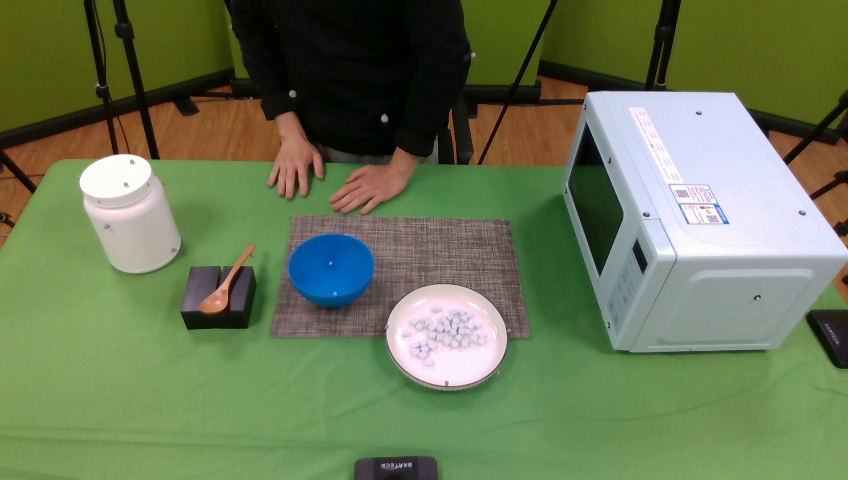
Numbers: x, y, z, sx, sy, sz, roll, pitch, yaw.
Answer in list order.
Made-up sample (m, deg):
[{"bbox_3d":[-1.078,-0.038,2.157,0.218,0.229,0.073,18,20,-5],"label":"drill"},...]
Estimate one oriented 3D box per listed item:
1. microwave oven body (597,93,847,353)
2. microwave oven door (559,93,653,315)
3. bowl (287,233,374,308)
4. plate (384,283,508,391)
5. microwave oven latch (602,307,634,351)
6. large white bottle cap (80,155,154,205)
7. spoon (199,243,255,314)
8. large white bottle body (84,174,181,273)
[{"bbox_3d":[0.475,-0.041,1.109,0.326,0.261,0.438,-1,45,-4],"label":"microwave oven body"},{"bbox_3d":[0.327,-0.074,1.123,0.039,0.245,0.353,-1,46,-5],"label":"microwave oven door"},{"bbox_3d":[-0.165,0.068,1.078,0.151,0.077,0.150,3,46,-3],"label":"bowl"},{"bbox_3d":[0.036,0.166,1.029,0.209,0.038,0.208,2,49,-2],"label":"plate"},{"bbox_3d":[0.332,0.153,1.044,0.030,0.029,0.078,0,45,-4],"label":"microwave oven latch"},{"bbox_3d":[-0.519,-0.103,1.027,0.115,0.018,0.114,2,46,-2],"label":"large white bottle cap"},{"bbox_3d":[-0.333,0.063,1.051,0.041,0.022,0.193,6,41,9],"label":"spoon"},{"bbox_3d":[-0.523,-0.045,1.088,0.131,0.185,0.130,2,46,-2],"label":"large white bottle body"}]
